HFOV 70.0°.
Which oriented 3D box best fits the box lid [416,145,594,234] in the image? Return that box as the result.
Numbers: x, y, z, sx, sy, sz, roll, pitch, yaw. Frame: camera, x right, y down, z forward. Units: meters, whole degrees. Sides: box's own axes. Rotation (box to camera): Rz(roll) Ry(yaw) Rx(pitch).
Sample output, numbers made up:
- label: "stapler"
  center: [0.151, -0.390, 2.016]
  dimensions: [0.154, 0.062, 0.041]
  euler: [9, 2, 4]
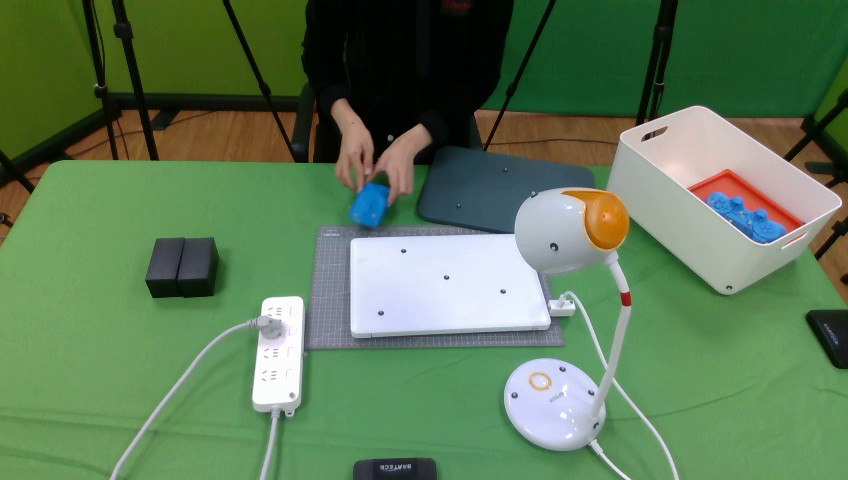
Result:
- label: "box lid"
  center: [0.186, -0.103, 1.320]
  dimensions: [0.371, 0.015, 0.262]
  euler: [10, 46, 6]

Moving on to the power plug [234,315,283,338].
- label: "power plug"
  center: [-0.269, 0.143, 1.000]
  dimensions: [0.072, 0.053, 0.035]
  euler: [4, 47, 2]

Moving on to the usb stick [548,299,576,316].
- label: "usb stick"
  center: [0.239, 0.121, 1.084]
  dimensions: [0.059, 0.027, 0.021]
  euler: [-1, 51, -1]

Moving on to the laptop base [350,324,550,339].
- label: "laptop base"
  center: [0.039, 0.081, 1.124]
  dimensions: [0.355, 0.023, 0.234]
  euler: [-2, 43, -6]

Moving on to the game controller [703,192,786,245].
- label: "game controller"
  center: [0.612, -0.044, 1.167]
  dimensions: [0.154, 0.052, 0.097]
  euler: [36, 57, 27]

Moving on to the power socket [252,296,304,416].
- label: "power socket"
  center: [-0.238, 0.181, 0.997]
  dimensions: [0.072, 0.033, 0.225]
  euler: [-3, 47, -5]

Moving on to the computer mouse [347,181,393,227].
- label: "computer mouse"
  center: [-0.107, -0.076, 1.222]
  dimensions: [0.063, 0.041, 0.116]
  euler: [22, 47, 4]

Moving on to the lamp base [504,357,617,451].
- label: "lamp base"
  center: [0.220, 0.211, 0.903]
  dimensions: [0.160, 0.181, 0.178]
  euler: [-33, 59, -30]

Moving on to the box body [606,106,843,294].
- label: "box body"
  center: [0.582, -0.088, 1.230]
  dimensions: [0.254, 0.161, 0.361]
  euler: [-22, 52, -23]

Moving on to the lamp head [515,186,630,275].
- label: "lamp head"
  center: [0.188, -0.013, 0.728]
  dimensions: [0.112, 0.112, 0.122]
  euler: [-25, 9, -25]

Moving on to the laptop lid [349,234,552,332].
- label: "laptop lid"
  center: [0.040, 0.071, 1.118]
  dimensions: [0.357, 0.013, 0.240]
  euler: [0, 44, -5]
